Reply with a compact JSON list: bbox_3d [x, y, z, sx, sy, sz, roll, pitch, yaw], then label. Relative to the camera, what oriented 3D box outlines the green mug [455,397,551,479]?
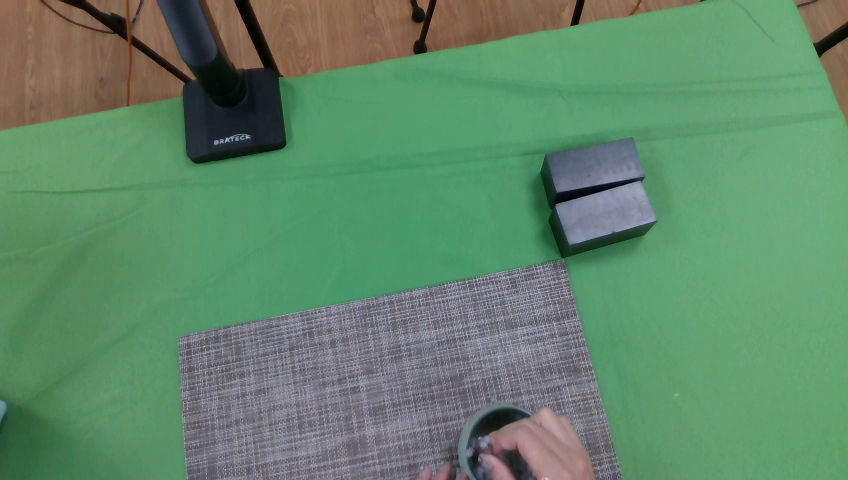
[{"bbox_3d":[0.085,0.213,0.586,0.092,0.105,0.124,-28,74,-6],"label":"green mug"}]

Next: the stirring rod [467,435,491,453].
[{"bbox_3d":[0.047,0.182,0.537,0.014,0.177,0.006,7,69,5],"label":"stirring rod"}]

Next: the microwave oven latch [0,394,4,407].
[{"bbox_3d":[-0.478,0.196,0.638,0.030,0.029,0.079,18,76,8],"label":"microwave oven latch"}]
